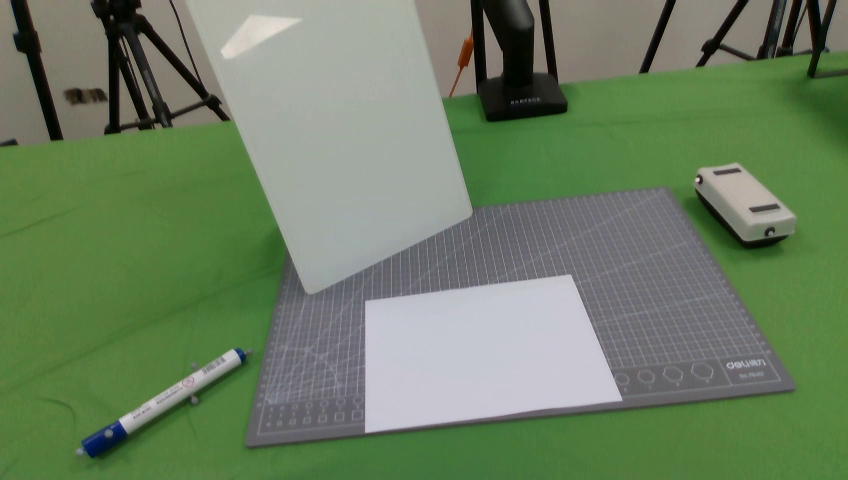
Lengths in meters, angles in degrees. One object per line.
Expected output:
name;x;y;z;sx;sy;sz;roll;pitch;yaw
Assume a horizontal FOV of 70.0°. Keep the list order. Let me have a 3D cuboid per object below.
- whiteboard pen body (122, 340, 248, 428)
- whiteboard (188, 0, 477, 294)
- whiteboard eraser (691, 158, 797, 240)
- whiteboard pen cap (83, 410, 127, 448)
whiteboard pen body;-0.219;0.130;0.532;0.141;0.017;0.017;-32;45;-30
whiteboard;-0.103;-0.136;0.668;0.217;0.307;0.142;-26;22;-21
whiteboard eraser;0.340;-0.044;0.650;0.055;0.042;0.111;-11;39;-3
whiteboard pen cap;-0.263;0.156;0.503;0.033;0.018;0.018;-33;45;-30
